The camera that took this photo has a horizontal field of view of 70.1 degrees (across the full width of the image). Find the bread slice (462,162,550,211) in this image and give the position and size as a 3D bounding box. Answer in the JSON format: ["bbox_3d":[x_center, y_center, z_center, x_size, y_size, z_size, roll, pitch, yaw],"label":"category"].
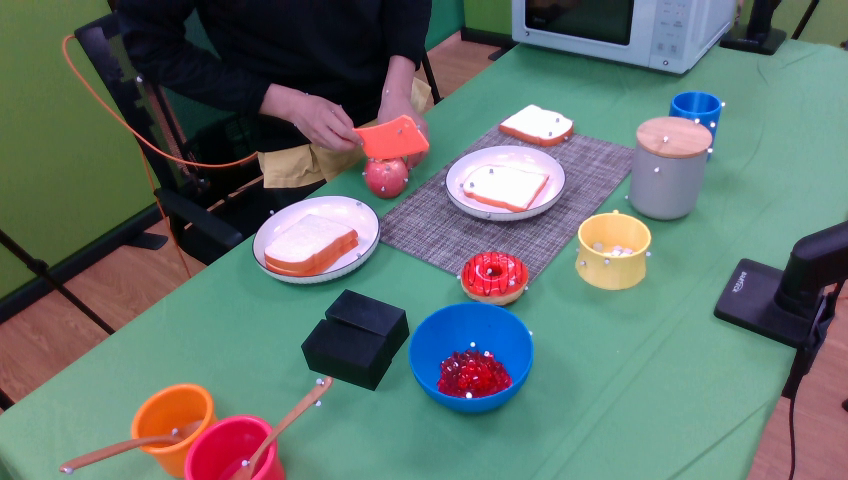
[{"bbox_3d":[0.135,-0.094,1.045,0.133,0.018,0.107,15,45,23],"label":"bread slice"}]

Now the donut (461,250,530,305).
[{"bbox_3d":[0.103,0.053,0.872,0.099,0.048,0.098,-4,40,4],"label":"donut"}]

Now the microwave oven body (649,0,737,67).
[{"bbox_3d":[0.475,-0.602,1.411,0.438,0.261,0.327,23,50,32],"label":"microwave oven body"}]

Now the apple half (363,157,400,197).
[{"bbox_3d":[-0.080,-0.104,1.063,0.081,0.081,0.033,16,41,25],"label":"apple half"}]

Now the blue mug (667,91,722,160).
[{"bbox_3d":[0.474,-0.207,1.079,0.082,0.106,0.116,4,42,13],"label":"blue mug"}]

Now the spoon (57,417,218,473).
[{"bbox_3d":[-0.304,0.221,0.661,0.041,0.195,0.021,19,92,27],"label":"spoon"}]

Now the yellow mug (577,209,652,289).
[{"bbox_3d":[0.279,0.004,0.893,0.099,0.064,0.130,5,41,15],"label":"yellow mug"}]

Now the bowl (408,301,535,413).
[{"bbox_3d":[0.060,0.156,0.739,0.151,0.077,0.150,-4,40,4],"label":"bowl"}]

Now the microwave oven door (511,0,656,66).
[{"bbox_3d":[0.351,-0.539,1.349,0.353,0.245,0.039,24,50,31],"label":"microwave oven door"}]

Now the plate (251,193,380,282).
[{"bbox_3d":[-0.174,-0.001,0.984,0.209,0.038,0.208,-4,40,3],"label":"plate"}]

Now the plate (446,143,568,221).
[{"bbox_3d":[0.142,-0.096,1.045,0.207,0.039,0.206,-4,40,4],"label":"plate"}]

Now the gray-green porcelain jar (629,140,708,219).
[{"bbox_3d":[0.383,-0.105,0.958,0.106,0.127,0.105,-4,41,4],"label":"gray-green porcelain jar"}]

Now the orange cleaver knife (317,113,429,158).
[{"bbox_3d":[-0.090,-0.172,1.029,0.210,0.077,0.012,0,41,31],"label":"orange cleaver knife"}]

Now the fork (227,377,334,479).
[{"bbox_3d":[-0.163,0.216,0.647,0.207,0.019,0.028,-49,41,16],"label":"fork"}]

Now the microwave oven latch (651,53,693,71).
[{"bbox_3d":[0.532,-0.386,1.301,0.078,0.029,0.030,27,52,34],"label":"microwave oven latch"}]

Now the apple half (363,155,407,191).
[{"bbox_3d":[-0.063,-0.127,1.089,0.080,0.075,0.053,14,40,27],"label":"apple half"}]

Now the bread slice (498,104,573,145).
[{"bbox_3d":[0.231,-0.232,1.205,0.105,0.019,0.130,-36,47,-29],"label":"bread slice"}]

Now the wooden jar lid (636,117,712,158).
[{"bbox_3d":[0.377,-0.151,0.917,0.108,0.021,0.108,-2,41,3],"label":"wooden jar lid"}]
